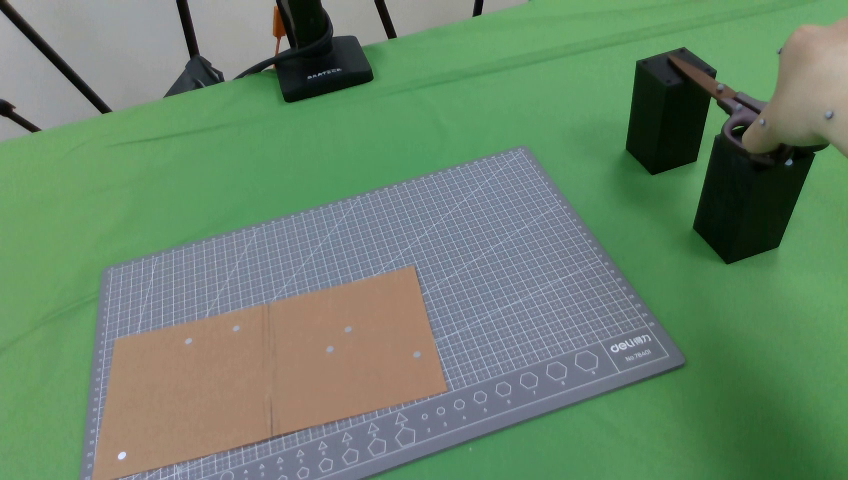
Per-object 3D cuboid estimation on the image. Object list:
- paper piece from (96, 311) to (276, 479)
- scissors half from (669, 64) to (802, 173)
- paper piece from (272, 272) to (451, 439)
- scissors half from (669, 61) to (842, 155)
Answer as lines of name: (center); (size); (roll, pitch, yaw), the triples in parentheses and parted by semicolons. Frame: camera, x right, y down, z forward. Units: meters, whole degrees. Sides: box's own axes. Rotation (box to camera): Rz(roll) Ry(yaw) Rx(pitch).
paper piece: (-0.187, 0.121, 0.489); (0.138, 0.009, 0.134); (-14, 41, -2)
scissors half: (0.243, -0.107, 0.494); (0.040, 0.013, 0.173); (-18, 43, 4)
paper piece: (-0.057, 0.088, 0.497); (0.136, 0.004, 0.134); (-13, 43, -3)
scissors half: (0.261, -0.116, 0.495); (0.040, 0.013, 0.173); (-33, 43, -4)
